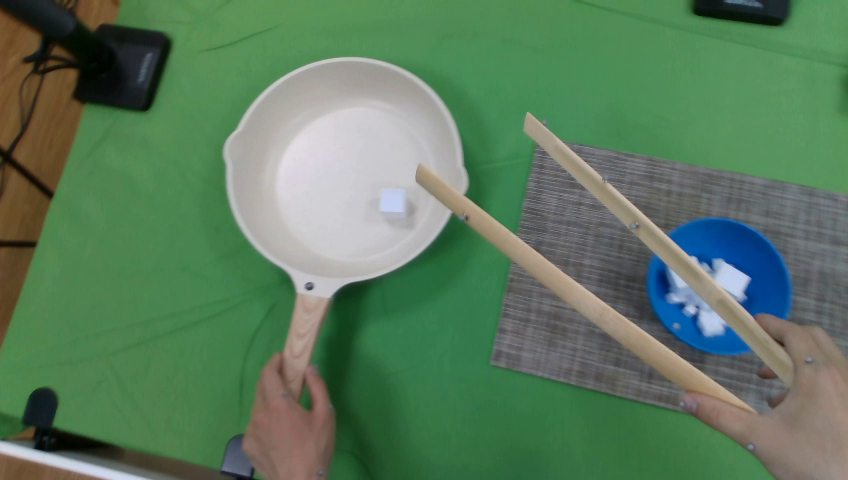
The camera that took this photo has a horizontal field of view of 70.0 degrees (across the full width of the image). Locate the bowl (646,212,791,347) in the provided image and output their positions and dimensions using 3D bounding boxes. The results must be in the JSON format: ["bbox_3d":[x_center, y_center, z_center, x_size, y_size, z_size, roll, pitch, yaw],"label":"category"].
[{"bbox_3d":[0.322,0.050,0.691,0.151,0.077,0.150,-1,77,5],"label":"bowl"}]

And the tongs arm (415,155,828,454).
[{"bbox_3d":[0.131,0.038,0.495,0.384,0.028,0.028,39,52,24],"label":"tongs arm"}]

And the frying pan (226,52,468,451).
[{"bbox_3d":[-0.118,0.003,0.732,0.306,0.103,0.485,11,70,8],"label":"frying pan"}]

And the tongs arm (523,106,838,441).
[{"bbox_3d":[0.192,0.005,0.528,0.051,0.027,0.381,-24,57,-25],"label":"tongs arm"}]
